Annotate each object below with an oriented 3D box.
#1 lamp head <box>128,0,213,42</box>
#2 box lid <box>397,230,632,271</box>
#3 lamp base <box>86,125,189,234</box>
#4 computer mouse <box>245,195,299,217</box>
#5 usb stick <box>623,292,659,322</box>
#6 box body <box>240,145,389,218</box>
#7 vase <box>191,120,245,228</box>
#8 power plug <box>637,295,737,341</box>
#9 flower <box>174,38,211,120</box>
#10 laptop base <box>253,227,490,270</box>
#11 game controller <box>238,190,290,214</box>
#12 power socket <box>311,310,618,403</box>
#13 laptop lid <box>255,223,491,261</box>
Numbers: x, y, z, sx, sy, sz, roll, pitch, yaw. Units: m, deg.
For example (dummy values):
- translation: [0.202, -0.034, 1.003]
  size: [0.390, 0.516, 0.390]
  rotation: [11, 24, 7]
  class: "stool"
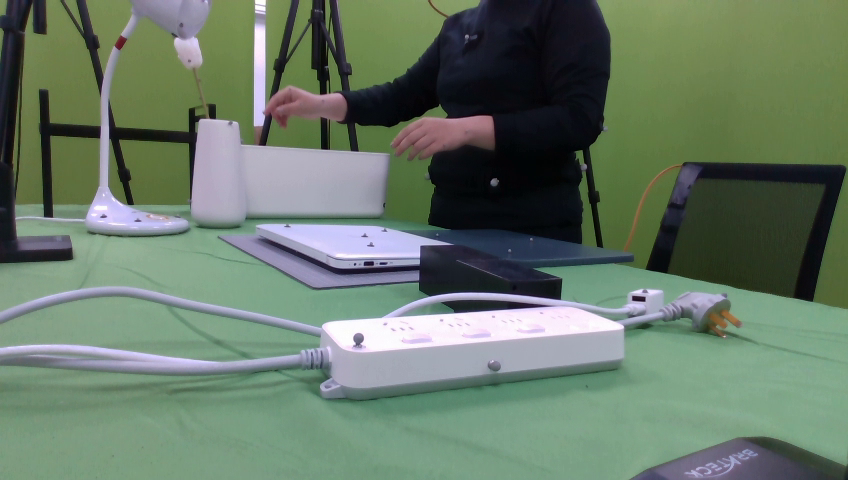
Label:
- translation: [-0.423, -0.394, 0.980]
  size: [0.123, 0.112, 0.112]
  rotation: [20, 7, -3]
  class: "lamp head"
- translation: [0.140, 0.012, 1.044]
  size: [0.265, 0.015, 0.369]
  rotation: [-1, 9, -32]
  class: "box lid"
- translation: [-0.497, -0.105, 1.027]
  size: [0.179, 0.180, 0.160]
  rotation: [1, 7, 2]
  class: "lamp base"
- translation: [-0.344, -0.077, 1.368]
  size: [0.118, 0.041, 0.062]
  rotation: [-12, 16, -30]
  class: "computer mouse"
- translation: [0.211, 0.064, 0.581]
  size: [0.021, 0.027, 0.059]
  rotation: [-2, -3, 36]
  class: "usb stick"
- translation: [-0.297, -0.143, 1.474]
  size: [0.366, 0.160, 0.253]
  rotation: [-1, 9, -30]
  class: "box body"
- translation: [-0.389, -0.124, 1.142]
  size: [0.098, 0.200, 0.098]
  rotation: [3, 9, 0]
  class: "vase"
- translation: [0.235, 0.077, 0.535]
  size: [0.072, 0.035, 0.052]
  rotation: [-34, 40, -5]
  class: "power plug"
- translation: [-0.401, -0.207, 1.141]
  size: [0.038, 0.361, 0.044]
  rotation: [-14, 3, 44]
  class: "flower"
- translation: [-0.096, 0.012, 0.911]
  size: [0.237, 0.023, 0.352]
  rotation: [3, 6, -32]
  class: "laptop base"
- translation: [-0.391, -0.094, 1.465]
  size: [0.097, 0.051, 0.154]
  rotation: [-3, 8, -29]
  class: "game controller"
- translation: [0.034, 0.074, 0.415]
  size: [0.228, 0.032, 0.072]
  rotation: [-1, 7, -24]
  class: "power socket"
- translation: [-0.093, 0.000, 0.911]
  size: [0.243, 0.013, 0.355]
  rotation: [1, 7, -30]
  class: "laptop lid"
